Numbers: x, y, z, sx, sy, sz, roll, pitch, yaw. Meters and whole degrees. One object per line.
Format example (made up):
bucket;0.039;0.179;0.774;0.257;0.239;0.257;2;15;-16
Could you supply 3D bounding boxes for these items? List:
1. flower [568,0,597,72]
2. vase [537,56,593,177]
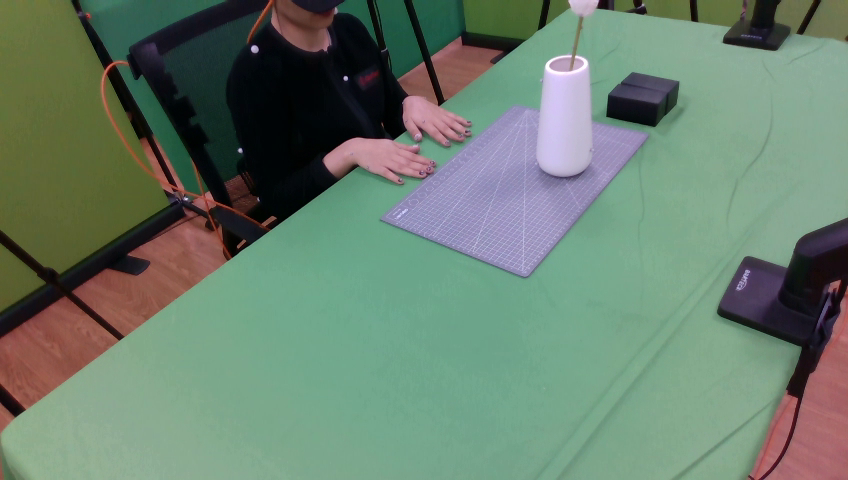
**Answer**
flower;0.232;-0.260;0.974;0.044;0.363;0.038;-23;59;-10
vase;0.245;-0.209;1.040;0.098;0.201;0.097;-4;40;4
